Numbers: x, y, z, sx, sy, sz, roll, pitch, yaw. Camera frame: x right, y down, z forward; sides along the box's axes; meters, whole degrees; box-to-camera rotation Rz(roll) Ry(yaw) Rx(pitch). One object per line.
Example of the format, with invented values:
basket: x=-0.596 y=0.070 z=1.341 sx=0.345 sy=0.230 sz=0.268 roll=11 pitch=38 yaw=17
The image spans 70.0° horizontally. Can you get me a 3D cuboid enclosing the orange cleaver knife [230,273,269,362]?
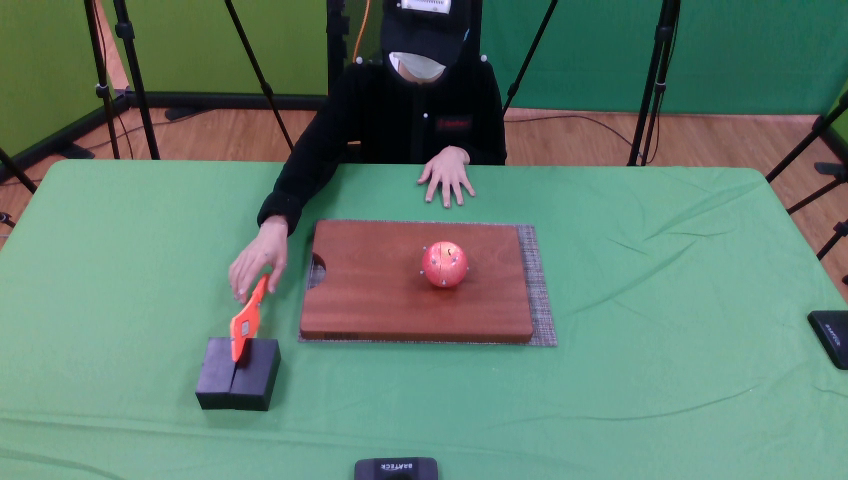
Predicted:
orange cleaver knife: x=-0.290 y=0.124 z=1.014 sx=0.012 sy=0.077 sz=0.210 roll=0 pitch=23 yaw=1

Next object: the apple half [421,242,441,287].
apple half: x=0.010 y=0.045 z=1.079 sx=0.033 sy=0.081 sz=0.081 roll=3 pitch=45 yaw=-6

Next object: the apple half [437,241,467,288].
apple half: x=0.049 y=0.047 z=1.083 sx=0.053 sy=0.075 sz=0.080 roll=3 pitch=41 yaw=-6
